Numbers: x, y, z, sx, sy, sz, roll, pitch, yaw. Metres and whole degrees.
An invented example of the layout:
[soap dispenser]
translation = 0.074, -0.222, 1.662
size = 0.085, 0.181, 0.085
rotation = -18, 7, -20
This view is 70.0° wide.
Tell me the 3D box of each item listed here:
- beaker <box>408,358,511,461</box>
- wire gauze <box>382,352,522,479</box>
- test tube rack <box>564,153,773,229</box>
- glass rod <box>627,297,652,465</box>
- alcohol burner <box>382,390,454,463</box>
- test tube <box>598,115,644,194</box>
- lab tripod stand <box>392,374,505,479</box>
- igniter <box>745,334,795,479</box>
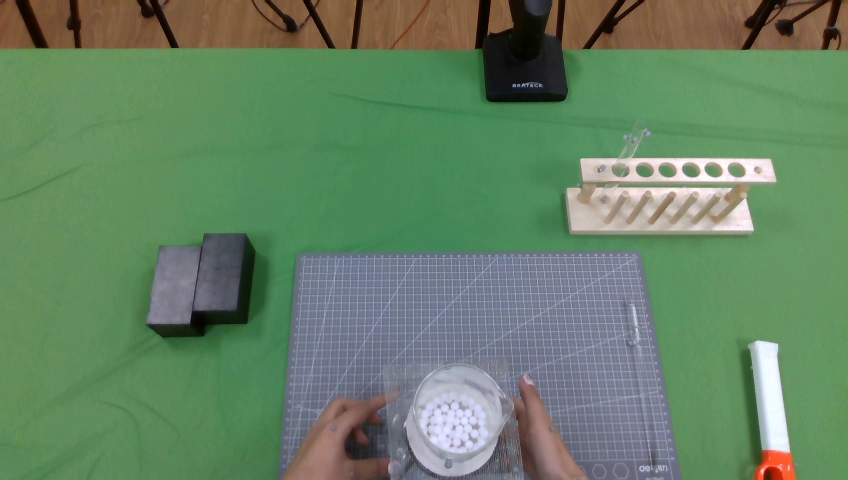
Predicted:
[beaker]
translation = 0.029, 0.151, 0.528
size = 0.084, 0.101, 0.073
rotation = -5, 65, -3
[wire gauze]
translation = 0.024, 0.168, 0.574
size = 0.125, 0.011, 0.120
rotation = -4, 64, -1
[test tube rack]
translation = 0.314, -0.063, 0.788
size = 0.242, 0.086, 0.066
rotation = 0, 65, -1
[glass rod]
translation = 0.257, 0.163, 0.723
size = 0.008, 0.008, 0.198
rotation = 1, 68, -1
[alcohol burner]
translation = -0.006, 0.195, 0.644
size = 0.078, 0.120, 0.077
rotation = 1, 64, -2
[test tube]
translation = 0.241, -0.101, 0.750
size = 0.017, 0.151, 0.017
rotation = 0, 62, 0
[lab tripod stand]
translation = 0.023, 0.199, 0.632
size = 0.148, 0.132, 0.147
rotation = 0, 65, 1
[igniter]
translation = 0.395, 0.242, 0.685
size = 0.057, 0.025, 0.274
rotation = 11, 66, -8
